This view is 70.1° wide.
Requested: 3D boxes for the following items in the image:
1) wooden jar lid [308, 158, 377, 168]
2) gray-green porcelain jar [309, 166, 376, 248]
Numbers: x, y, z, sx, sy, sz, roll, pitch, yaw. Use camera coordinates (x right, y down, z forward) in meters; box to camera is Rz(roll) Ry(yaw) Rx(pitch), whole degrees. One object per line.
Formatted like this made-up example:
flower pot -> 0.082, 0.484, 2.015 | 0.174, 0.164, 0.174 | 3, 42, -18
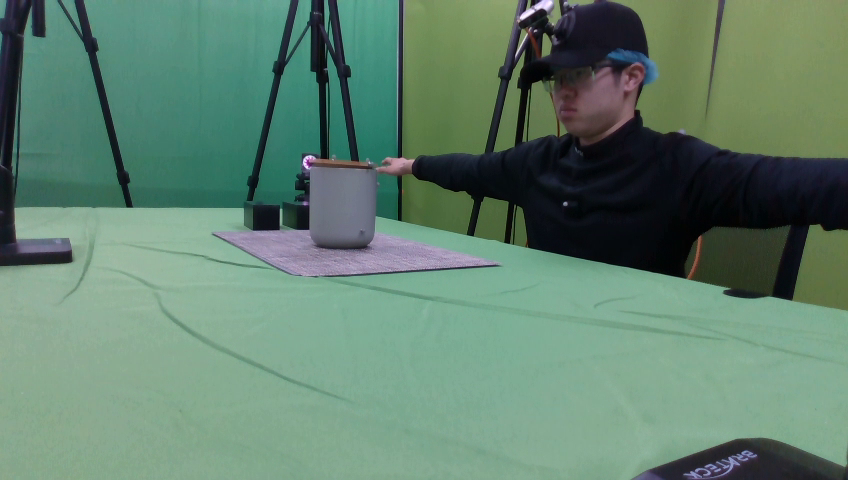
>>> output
wooden jar lid -> -0.128, -0.117, 0.956 | 0.108, 0.020, 0.108 | 5, 6, 0
gray-green porcelain jar -> -0.130, -0.054, 0.966 | 0.106, 0.126, 0.106 | 2, 7, 0
